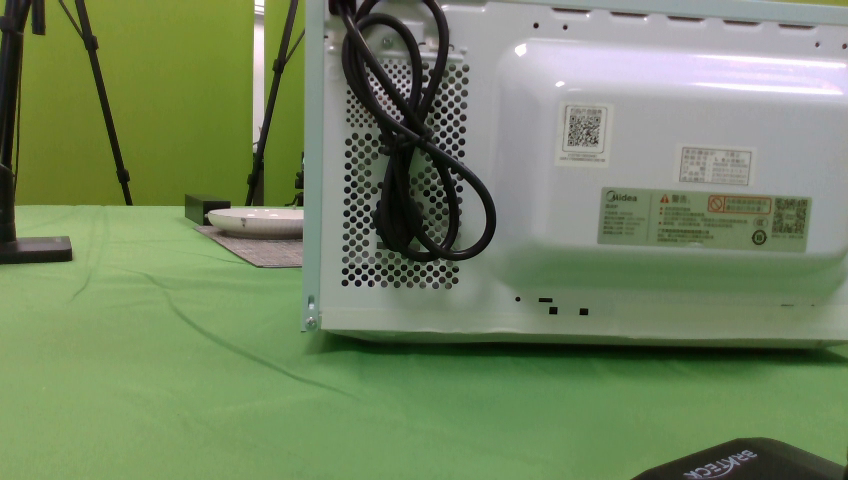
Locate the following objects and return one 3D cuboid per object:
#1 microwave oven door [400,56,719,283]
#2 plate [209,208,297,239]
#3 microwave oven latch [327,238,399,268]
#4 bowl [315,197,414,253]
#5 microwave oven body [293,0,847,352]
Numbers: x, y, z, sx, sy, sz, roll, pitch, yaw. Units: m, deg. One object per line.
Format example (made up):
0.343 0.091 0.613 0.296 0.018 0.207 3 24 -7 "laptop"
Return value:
0.155 -0.077 0.697 0.356 0.243 0.039 2 8 -5 "microwave oven door"
-0.271 -0.029 1.074 0.208 0.039 0.207 3 7 0 "plate"
-0.069 0.015 0.694 0.079 0.029 0.030 3 7 -3 "microwave oven latch"
-0.092 -0.023 0.931 0.151 0.077 0.151 3 7 0 "bowl"
0.122 -0.055 0.550 0.442 0.260 0.325 3 7 -5 "microwave oven body"
